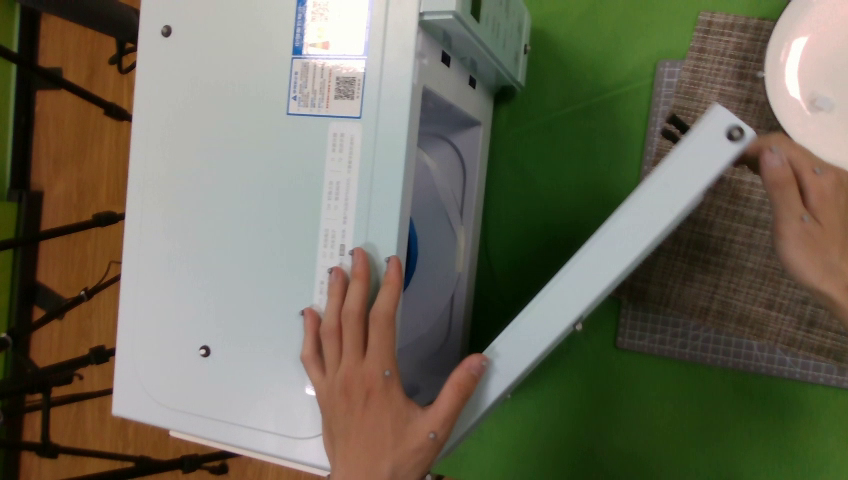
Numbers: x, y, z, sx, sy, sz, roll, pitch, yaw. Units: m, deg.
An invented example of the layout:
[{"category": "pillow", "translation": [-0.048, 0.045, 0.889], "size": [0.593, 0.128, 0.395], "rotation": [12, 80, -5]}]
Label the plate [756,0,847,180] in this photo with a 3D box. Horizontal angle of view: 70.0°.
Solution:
[{"category": "plate", "translation": [0.410, -0.151, 0.537], "size": [0.208, 0.038, 0.209], "rotation": [0, 89, 21]}]

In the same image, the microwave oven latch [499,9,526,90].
[{"category": "microwave oven latch", "translation": [0.091, -0.202, 0.642], "size": [0.030, 0.029, 0.079], "rotation": [7, 94, 20]}]

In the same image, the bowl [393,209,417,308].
[{"category": "bowl", "translation": [-0.067, 0.014, 0.634], "size": [0.151, 0.077, 0.151], "rotation": [0, 90, 21]}]

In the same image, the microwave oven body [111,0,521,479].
[{"category": "microwave oven body", "translation": [-0.099, -0.041, 0.612], "size": [0.324, 0.261, 0.442], "rotation": [6, 93, 20]}]

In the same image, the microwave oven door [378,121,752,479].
[{"category": "microwave oven door", "translation": [0.123, 0.060, 0.525], "size": [0.039, 0.245, 0.356], "rotation": [45, 105, 16]}]
